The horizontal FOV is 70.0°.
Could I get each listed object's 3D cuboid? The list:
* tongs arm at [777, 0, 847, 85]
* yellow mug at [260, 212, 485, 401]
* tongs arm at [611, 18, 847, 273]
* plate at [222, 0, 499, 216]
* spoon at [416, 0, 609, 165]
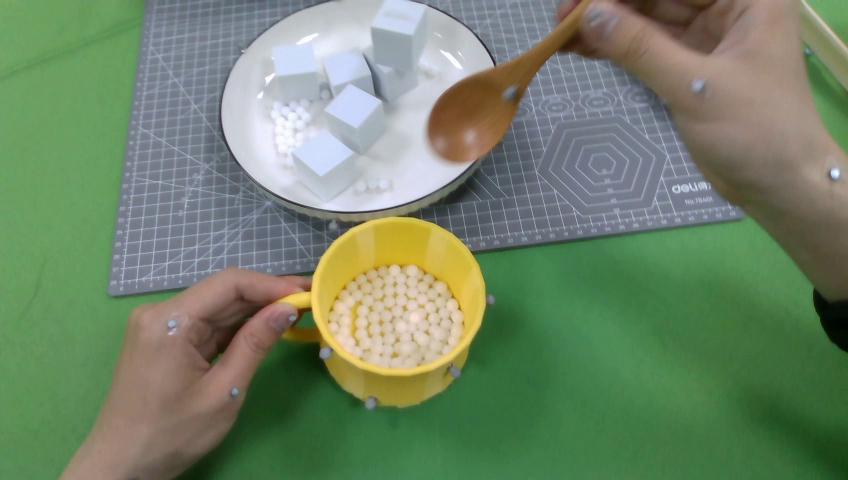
[{"bbox_3d":[0.338,-0.063,0.434,0.051,0.027,0.381,-19,66,-9],"label":"tongs arm"},{"bbox_3d":[-0.032,0.042,0.366,0.131,0.064,0.099,-5,61,-7],"label":"yellow mug"},{"bbox_3d":[0.265,-0.030,0.421,0.028,0.028,0.384,-30,68,-17],"label":"tongs arm"},{"bbox_3d":[-0.044,-0.104,0.461,0.207,0.039,0.206,-1,63,2],"label":"plate"},{"bbox_3d":[0.062,-0.097,0.280,0.042,0.194,0.021,46,42,-7],"label":"spoon"}]
